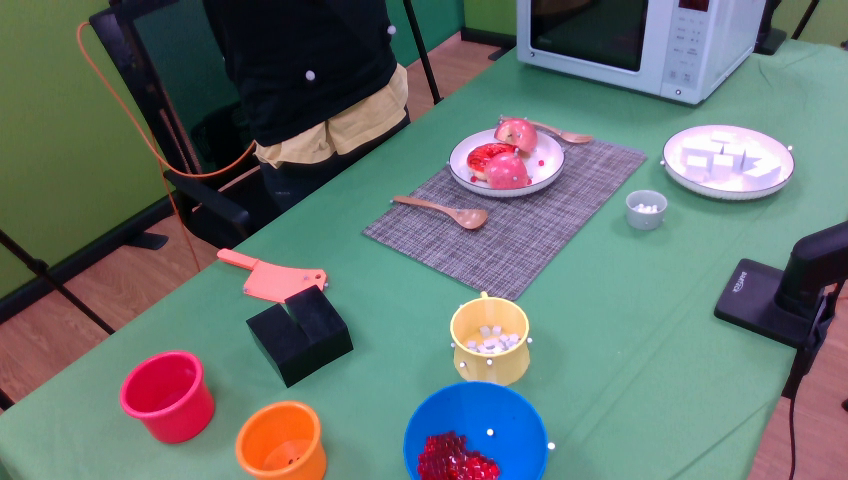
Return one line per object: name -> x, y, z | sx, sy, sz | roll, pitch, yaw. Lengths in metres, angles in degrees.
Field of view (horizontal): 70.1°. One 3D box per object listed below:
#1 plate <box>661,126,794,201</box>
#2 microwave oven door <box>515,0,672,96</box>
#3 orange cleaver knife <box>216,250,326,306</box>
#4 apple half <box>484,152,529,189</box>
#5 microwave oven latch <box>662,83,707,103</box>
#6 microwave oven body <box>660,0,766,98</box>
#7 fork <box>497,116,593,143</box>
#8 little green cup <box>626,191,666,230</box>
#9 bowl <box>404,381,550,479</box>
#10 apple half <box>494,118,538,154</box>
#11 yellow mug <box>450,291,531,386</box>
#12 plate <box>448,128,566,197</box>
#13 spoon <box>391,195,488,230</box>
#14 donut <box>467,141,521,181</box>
plate -> 0.513, -0.128, 1.035 | 0.207, 0.039, 0.206 | -4, 40, 4
microwave oven door -> 0.343, -0.454, 1.259 | 0.353, 0.245, 0.039 | 26, 51, 33
orange cleaver knife -> -0.248, 0.058, 0.945 | 0.210, 0.012, 0.077 | 12, 49, 20
apple half -> 0.144, -0.116, 1.032 | 0.081, 0.033, 0.081 | 3, 77, -11
microwave oven latch -> 0.517, -0.296, 1.204 | 0.078, 0.029, 0.030 | 27, 52, 35
microwave oven body -> 0.472, -0.513, 1.317 | 0.438, 0.261, 0.327 | 26, 51, 34
fork -> 0.235, -0.221, 1.195 | 0.206, 0.019, 0.028 | 23, 56, 29
little green cup -> 0.352, -0.046, 0.963 | 0.061, 0.039, 0.061 | -4, 40, 4
bowl -> 0.058, 0.235, 0.645 | 0.151, 0.077, 0.150 | -4, 39, 4
apple half -> 0.175, -0.196, 1.114 | 0.080, 0.053, 0.075 | 29, 12, 34
yellow mug -> 0.085, 0.120, 0.786 | 0.100, 0.064, 0.130 | -7, 39, 1
plate -> 0.150, -0.138, 1.097 | 0.209, 0.038, 0.208 | -4, 40, 4
spoon -> 0.023, -0.054, 1.029 | 0.192, 0.022, 0.041 | 18, 72, 26
donut -> 0.126, -0.145, 1.091 | 0.099, 0.048, 0.098 | -5, 40, 5
